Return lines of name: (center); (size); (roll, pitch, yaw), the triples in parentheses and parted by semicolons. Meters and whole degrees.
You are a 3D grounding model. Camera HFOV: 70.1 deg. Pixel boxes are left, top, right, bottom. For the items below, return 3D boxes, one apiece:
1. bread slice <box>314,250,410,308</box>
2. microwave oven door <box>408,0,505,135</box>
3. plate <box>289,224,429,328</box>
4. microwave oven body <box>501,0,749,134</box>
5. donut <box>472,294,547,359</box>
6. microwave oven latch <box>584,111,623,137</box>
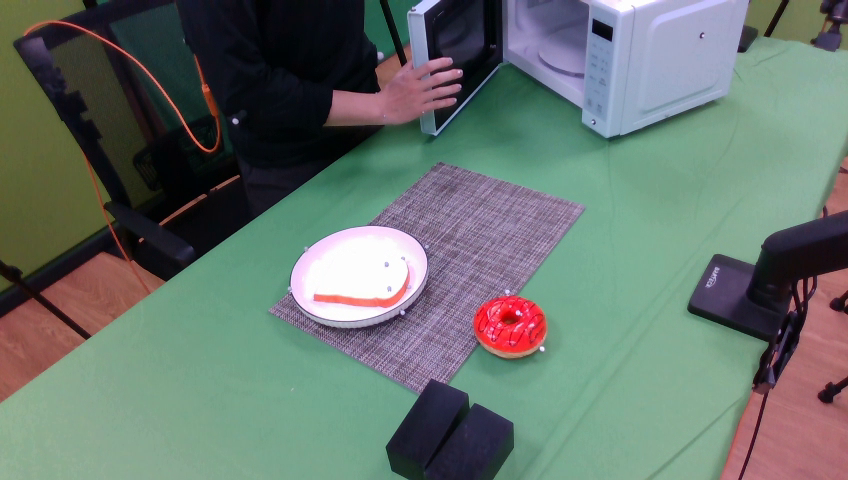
bread slice: (-0.087, 0.057, 0.900); (0.131, 0.019, 0.104); (5, 43, 14)
microwave oven door: (0.079, -0.411, 1.242); (0.039, 0.245, 0.356); (15, 46, 24)
plate: (-0.094, 0.055, 0.902); (0.207, 0.039, 0.206); (-4, 41, 4)
microwave oven body: (0.382, -0.445, 1.246); (0.327, 0.261, 0.437); (-22, 42, -16)
donut: (0.114, 0.114, 0.803); (0.099, 0.048, 0.098); (0, 40, 1)
microwave oven latch: (0.337, -0.222, 1.142); (0.030, 0.029, 0.078); (-21, 42, -14)
